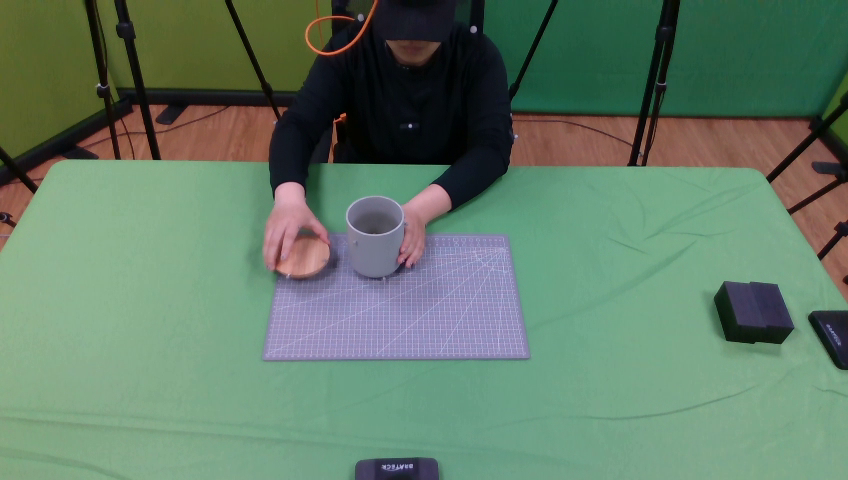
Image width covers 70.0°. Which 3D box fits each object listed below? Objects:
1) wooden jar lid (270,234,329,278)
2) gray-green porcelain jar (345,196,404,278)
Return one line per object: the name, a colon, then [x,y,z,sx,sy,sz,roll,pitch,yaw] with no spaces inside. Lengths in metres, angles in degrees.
wooden jar lid: [-0.232,0.031,1.130,0.108,0.021,0.107,3,45,-3]
gray-green porcelain jar: [-0.091,-0.001,1.117,0.106,0.127,0.105,2,46,-2]
